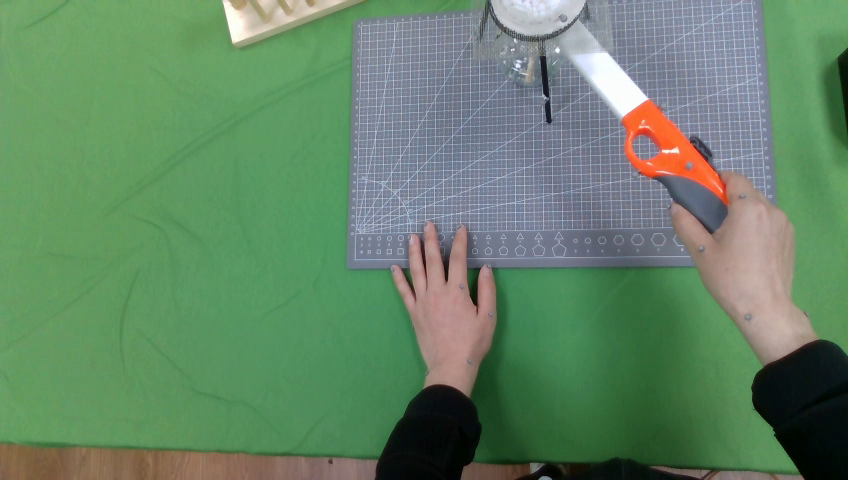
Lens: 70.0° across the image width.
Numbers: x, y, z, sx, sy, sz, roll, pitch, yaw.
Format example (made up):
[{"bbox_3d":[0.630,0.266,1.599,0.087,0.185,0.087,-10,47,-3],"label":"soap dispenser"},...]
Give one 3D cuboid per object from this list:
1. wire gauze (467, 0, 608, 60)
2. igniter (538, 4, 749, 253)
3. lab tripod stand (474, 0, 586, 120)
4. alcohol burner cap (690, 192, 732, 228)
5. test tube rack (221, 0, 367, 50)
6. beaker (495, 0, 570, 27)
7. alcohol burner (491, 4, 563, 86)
[{"bbox_3d":[0.101,-0.223,0.549,0.125,0.011,0.121,-1,85,8],"label":"wire gauze"},{"bbox_3d":[0.192,-0.106,0.540,0.057,0.025,0.274,-35,71,8],"label":"igniter"},{"bbox_3d":[0.114,-0.212,0.612,0.148,0.132,0.148,-1,82,9],"label":"lab tripod stand"},{"bbox_3d":[0.286,-0.032,0.601,0.034,0.048,0.033,-2,80,10],"label":"alcohol burner cap"},{"bbox_3d":[-0.136,-0.309,0.701,0.242,0.085,0.066,-18,78,7],"label":"test tube rack"},{"bbox_3d":[0.087,-0.231,0.503,0.084,0.101,0.074,12,84,13],"label":"beaker"},{"bbox_3d":[0.107,-0.207,0.623,0.078,0.119,0.077,-1,81,9],"label":"alcohol burner"}]
